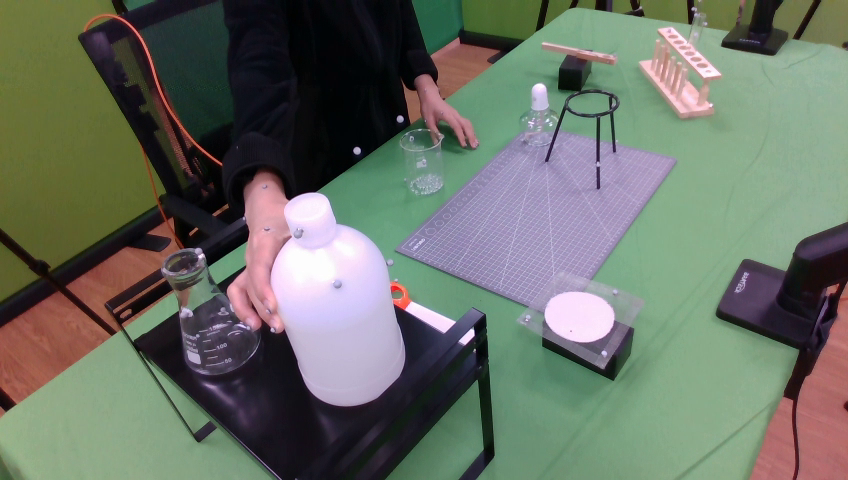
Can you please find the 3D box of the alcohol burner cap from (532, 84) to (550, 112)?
[{"bbox_3d":[0.218,-0.268,1.133,0.034,0.048,0.033,-8,36,7],"label":"alcohol burner cap"}]

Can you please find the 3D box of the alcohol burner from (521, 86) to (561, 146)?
[{"bbox_3d":[0.223,-0.241,1.155,0.078,0.119,0.077,-5,43,5],"label":"alcohol burner"}]

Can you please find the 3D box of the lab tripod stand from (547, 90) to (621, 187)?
[{"bbox_3d":[0.289,-0.184,1.062,0.148,0.132,0.147,-6,41,6],"label":"lab tripod stand"}]

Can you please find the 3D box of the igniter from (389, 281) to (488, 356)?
[{"bbox_3d":[-0.030,0.095,0.871,0.274,0.025,0.057,23,59,31],"label":"igniter"}]

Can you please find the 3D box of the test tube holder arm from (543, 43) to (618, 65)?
[{"bbox_3d":[0.344,-0.413,1.340,0.177,0.015,0.013,25,49,31],"label":"test tube holder arm"}]

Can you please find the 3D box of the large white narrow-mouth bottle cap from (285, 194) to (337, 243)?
[{"bbox_3d":[-0.087,-0.017,0.467,0.038,0.024,0.037,-5,41,4],"label":"large white narrow-mouth bottle cap"}]

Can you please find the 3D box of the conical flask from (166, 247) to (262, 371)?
[{"bbox_3d":[-0.209,0.064,0.584,0.075,0.122,0.075,-4,41,4],"label":"conical flask"}]

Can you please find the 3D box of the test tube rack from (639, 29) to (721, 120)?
[{"bbox_3d":[0.527,-0.351,1.262,0.067,0.085,0.241,-8,40,1],"label":"test tube rack"}]

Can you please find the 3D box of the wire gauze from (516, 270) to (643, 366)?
[{"bbox_3d":[0.200,0.093,0.777,0.124,0.011,0.122,23,49,32],"label":"wire gauze"}]

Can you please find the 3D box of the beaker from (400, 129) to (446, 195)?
[{"bbox_3d":[0.004,-0.139,1.087,0.084,0.101,0.073,-20,42,-14],"label":"beaker"}]

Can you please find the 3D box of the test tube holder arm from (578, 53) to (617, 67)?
[{"bbox_3d":[0.376,-0.393,1.314,0.087,0.015,0.010,26,50,32],"label":"test tube holder arm"}]

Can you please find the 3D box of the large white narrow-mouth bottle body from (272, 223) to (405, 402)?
[{"bbox_3d":[-0.076,0.048,0.525,0.102,0.195,0.101,-5,41,5],"label":"large white narrow-mouth bottle body"}]

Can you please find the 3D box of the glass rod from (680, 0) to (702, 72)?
[{"bbox_3d":[0.543,-0.417,1.233,0.008,0.200,0.008,1,40,0],"label":"glass rod"}]

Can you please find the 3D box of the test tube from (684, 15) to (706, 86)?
[{"bbox_3d":[0.540,-0.378,1.215,0.017,0.151,0.017,-2,44,3],"label":"test tube"}]
